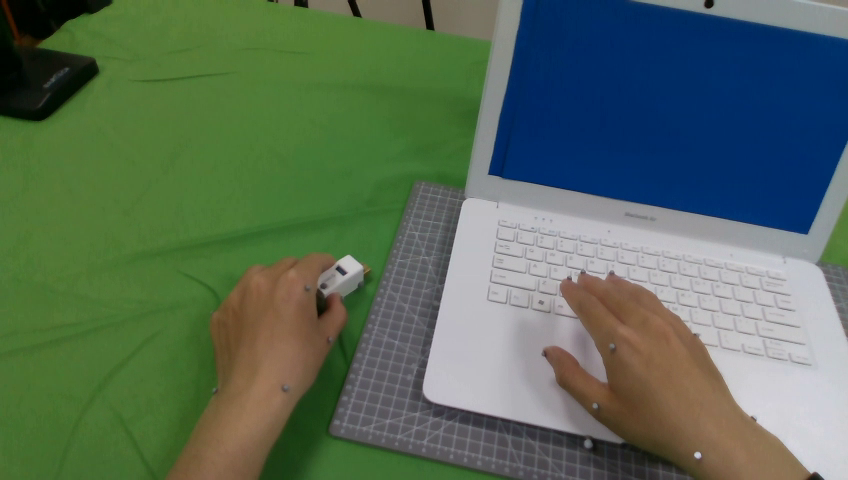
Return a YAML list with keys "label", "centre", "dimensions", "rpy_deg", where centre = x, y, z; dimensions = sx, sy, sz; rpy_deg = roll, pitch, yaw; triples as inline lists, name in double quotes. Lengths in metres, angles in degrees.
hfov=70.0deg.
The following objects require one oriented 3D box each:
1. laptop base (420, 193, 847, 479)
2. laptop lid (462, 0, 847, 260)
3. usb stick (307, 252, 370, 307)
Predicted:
- label: "laptop base"
  centre: [0.188, 0.073, 0.525]
  dimensions: [0.354, 0.023, 0.233]
  rpy_deg: [11, 49, 3]
- label: "laptop lid"
  centre: [0.226, -0.114, 0.557]
  dimensions: [0.356, 0.243, 0.013]
  rpy_deg: [10, 24, 3]
- label: "usb stick"
  centre: [-0.071, 0.030, 0.525]
  dimensions: [0.021, 0.027, 0.059]
  rpy_deg: [35, 50, 28]
